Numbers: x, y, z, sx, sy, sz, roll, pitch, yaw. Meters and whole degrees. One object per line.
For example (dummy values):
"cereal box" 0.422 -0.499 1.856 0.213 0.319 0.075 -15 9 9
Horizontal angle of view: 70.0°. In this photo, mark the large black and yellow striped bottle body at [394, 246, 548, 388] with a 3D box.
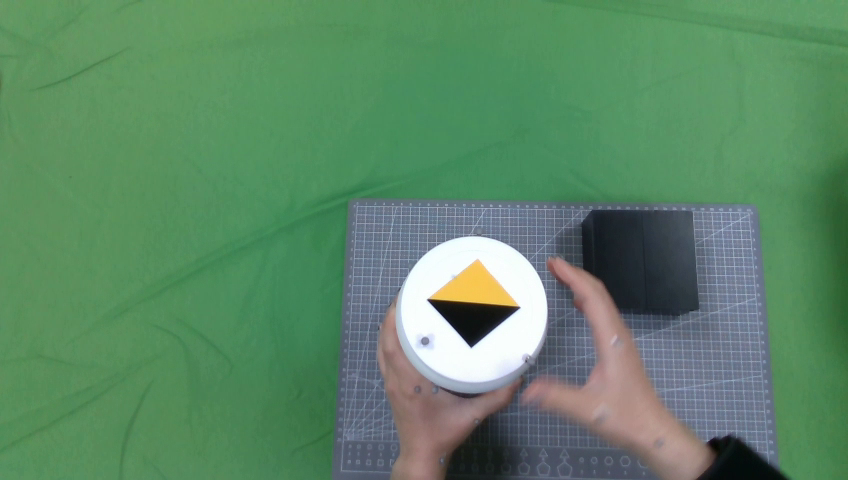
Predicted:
"large black and yellow striped bottle body" 0.041 0.069 0.556 0.131 0.185 0.130 0 78 2

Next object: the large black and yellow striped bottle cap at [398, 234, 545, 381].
"large black and yellow striped bottle cap" 0.036 0.052 0.472 0.115 0.019 0.114 0 77 1
